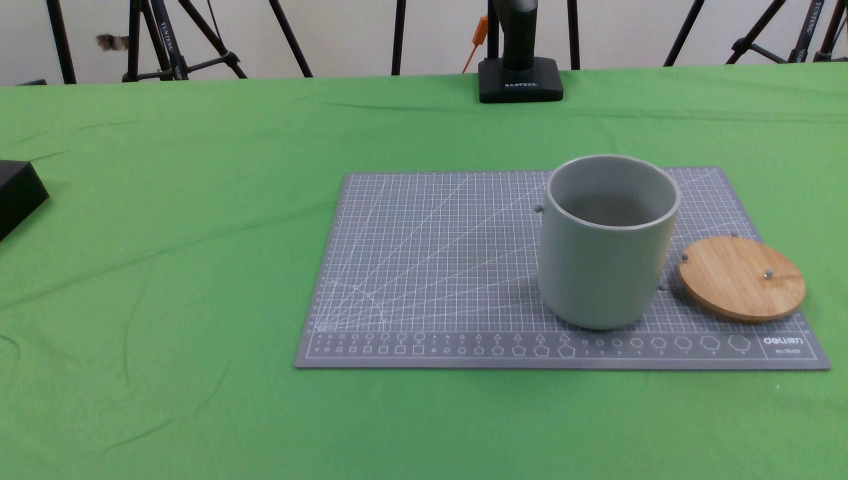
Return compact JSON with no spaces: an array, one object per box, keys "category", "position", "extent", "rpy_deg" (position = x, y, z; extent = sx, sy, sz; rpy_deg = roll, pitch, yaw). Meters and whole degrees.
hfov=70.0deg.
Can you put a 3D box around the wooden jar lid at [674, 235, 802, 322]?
[{"category":"wooden jar lid","position":[0.289,0.036,0.564],"extent":[0.108,0.021,0.107],"rpy_deg":[-2,39,2]}]

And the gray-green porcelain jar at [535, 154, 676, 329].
[{"category":"gray-green porcelain jar","position":[0.152,0.006,0.527],"extent":[0.106,0.127,0.105],"rpy_deg":[-2,41,2]}]
